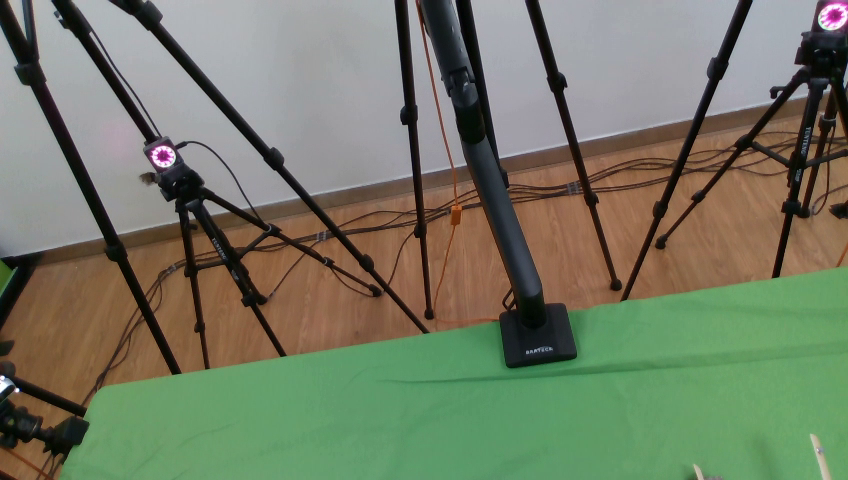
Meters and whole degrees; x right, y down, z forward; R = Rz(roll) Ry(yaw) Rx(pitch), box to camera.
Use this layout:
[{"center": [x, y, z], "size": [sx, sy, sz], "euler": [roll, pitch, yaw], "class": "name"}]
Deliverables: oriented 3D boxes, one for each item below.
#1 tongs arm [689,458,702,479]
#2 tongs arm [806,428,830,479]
[{"center": [0.391, 0.432, 0.694], "size": [0.028, 0.028, 0.383], "euler": [-30, 40, 19], "class": "tongs arm"}, {"center": [0.454, 0.397, 0.654], "size": [0.050, 0.027, 0.381], "euler": [-23, 44, 31], "class": "tongs arm"}]
